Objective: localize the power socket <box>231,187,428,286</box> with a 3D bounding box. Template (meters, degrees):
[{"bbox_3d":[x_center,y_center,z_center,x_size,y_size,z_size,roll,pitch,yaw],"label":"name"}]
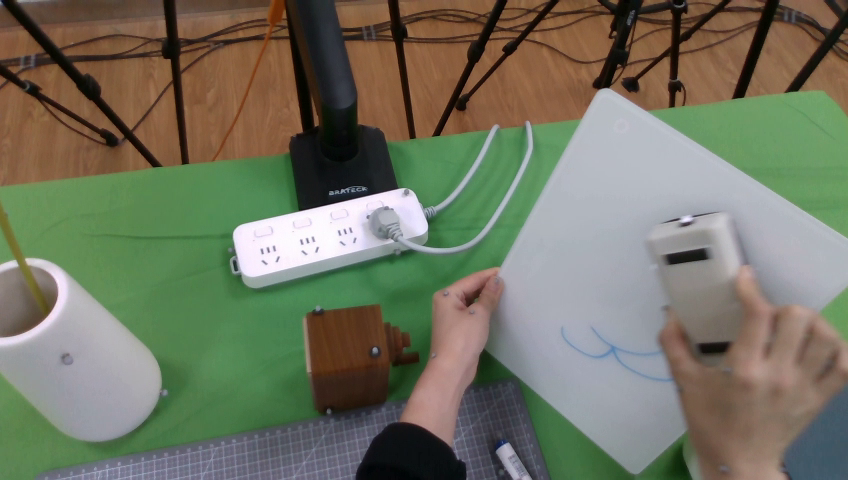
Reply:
[{"bbox_3d":[-0.101,-0.006,0.678,0.227,0.033,0.071,-14,61,-15],"label":"power socket"}]

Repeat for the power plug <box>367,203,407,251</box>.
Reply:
[{"bbox_3d":[-0.042,-0.007,0.657,0.035,0.053,0.072,-5,60,-8],"label":"power plug"}]

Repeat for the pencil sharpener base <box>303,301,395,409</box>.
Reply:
[{"bbox_3d":[-0.068,0.108,0.564,0.077,0.108,0.061,-6,58,-10],"label":"pencil sharpener base"}]

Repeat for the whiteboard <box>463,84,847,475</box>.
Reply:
[{"bbox_3d":[0.208,0.030,0.562,0.215,0.307,0.144,40,43,19],"label":"whiteboard"}]

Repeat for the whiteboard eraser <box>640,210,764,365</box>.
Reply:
[{"bbox_3d":[0.204,0.035,0.444,0.042,0.055,0.113,-34,104,-48],"label":"whiteboard eraser"}]

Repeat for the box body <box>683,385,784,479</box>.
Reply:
[{"bbox_3d":[0.405,0.274,0.474,0.255,0.161,0.360,-9,59,-12],"label":"box body"}]

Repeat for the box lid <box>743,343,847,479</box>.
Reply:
[{"bbox_3d":[0.411,0.231,0.413,0.264,0.015,0.367,-9,59,-12],"label":"box lid"}]

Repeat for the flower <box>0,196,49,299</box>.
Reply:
[{"bbox_3d":[-0.279,0.032,0.438,0.038,0.365,0.043,-19,43,-25],"label":"flower"}]

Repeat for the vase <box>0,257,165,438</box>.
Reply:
[{"bbox_3d":[-0.287,0.092,0.497,0.098,0.201,0.097,2,57,-3],"label":"vase"}]

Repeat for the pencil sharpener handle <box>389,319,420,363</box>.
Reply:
[{"bbox_3d":[-0.017,0.096,0.563,0.031,0.068,0.035,-6,59,-10],"label":"pencil sharpener handle"}]
